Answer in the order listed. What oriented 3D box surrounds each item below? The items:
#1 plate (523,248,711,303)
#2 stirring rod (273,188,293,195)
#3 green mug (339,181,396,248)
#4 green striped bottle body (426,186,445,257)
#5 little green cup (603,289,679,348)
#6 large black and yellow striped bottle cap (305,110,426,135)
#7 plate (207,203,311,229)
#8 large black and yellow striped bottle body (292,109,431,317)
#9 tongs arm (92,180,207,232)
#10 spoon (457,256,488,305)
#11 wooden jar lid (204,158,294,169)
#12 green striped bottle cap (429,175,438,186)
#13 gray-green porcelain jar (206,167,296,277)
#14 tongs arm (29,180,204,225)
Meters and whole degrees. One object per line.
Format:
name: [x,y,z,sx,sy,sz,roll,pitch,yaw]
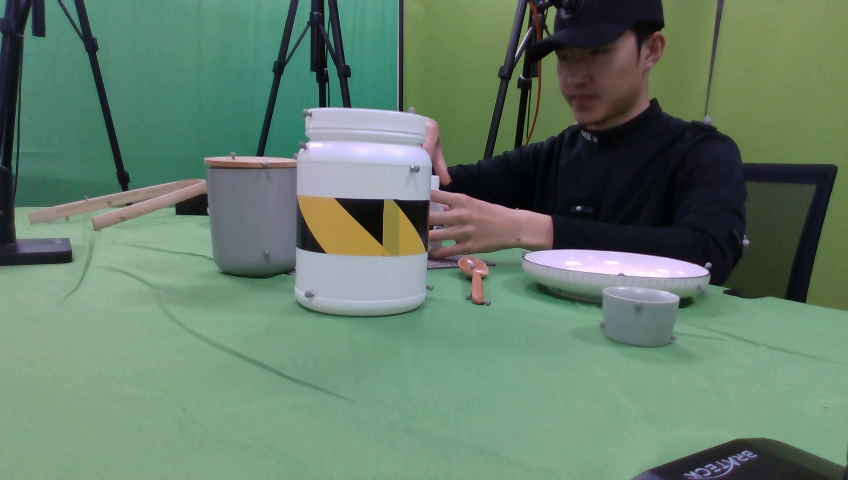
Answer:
plate: [0.219,0.042,0.706,0.209,0.038,0.209,2,7,0]
stirring rod: [-0.353,-0.122,1.519,0.006,0.014,0.176,1,7,1]
green mug: [-0.097,-0.044,0.994,0.093,0.105,0.125,-1,7,-20]
green striped bottle body: [-0.001,-0.037,0.902,0.063,0.119,0.063,2,7,0]
little green cup: [0.180,0.064,0.505,0.061,0.038,0.061,2,7,0]
large black and yellow striped bottle cap: [-0.055,-0.110,0.574,0.115,0.019,0.115,1,7,0]
plate: [-0.342,-0.050,1.259,0.208,0.039,0.207,3,7,0]
large black and yellow striped bottle body: [-0.060,-0.028,0.584,0.131,0.184,0.130,3,7,0]
tongs arm: [-0.534,-0.076,1.222,0.028,0.028,0.388,-2,15,12]
spoon: [0.059,0.044,0.696,0.041,0.021,0.193,21,7,0]
wooden jar lid: [-0.202,-0.086,0.714,0.108,0.020,0.108,3,11,0]
green striped bottle cap: [-0.001,-0.088,0.896,0.044,0.020,0.044,5,4,0]
gray-green porcelain jar: [-0.201,-0.024,0.724,0.106,0.126,0.106,-1,9,1]
tongs arm: [-0.609,-0.083,1.245,0.050,0.026,0.386,5,16,23]
